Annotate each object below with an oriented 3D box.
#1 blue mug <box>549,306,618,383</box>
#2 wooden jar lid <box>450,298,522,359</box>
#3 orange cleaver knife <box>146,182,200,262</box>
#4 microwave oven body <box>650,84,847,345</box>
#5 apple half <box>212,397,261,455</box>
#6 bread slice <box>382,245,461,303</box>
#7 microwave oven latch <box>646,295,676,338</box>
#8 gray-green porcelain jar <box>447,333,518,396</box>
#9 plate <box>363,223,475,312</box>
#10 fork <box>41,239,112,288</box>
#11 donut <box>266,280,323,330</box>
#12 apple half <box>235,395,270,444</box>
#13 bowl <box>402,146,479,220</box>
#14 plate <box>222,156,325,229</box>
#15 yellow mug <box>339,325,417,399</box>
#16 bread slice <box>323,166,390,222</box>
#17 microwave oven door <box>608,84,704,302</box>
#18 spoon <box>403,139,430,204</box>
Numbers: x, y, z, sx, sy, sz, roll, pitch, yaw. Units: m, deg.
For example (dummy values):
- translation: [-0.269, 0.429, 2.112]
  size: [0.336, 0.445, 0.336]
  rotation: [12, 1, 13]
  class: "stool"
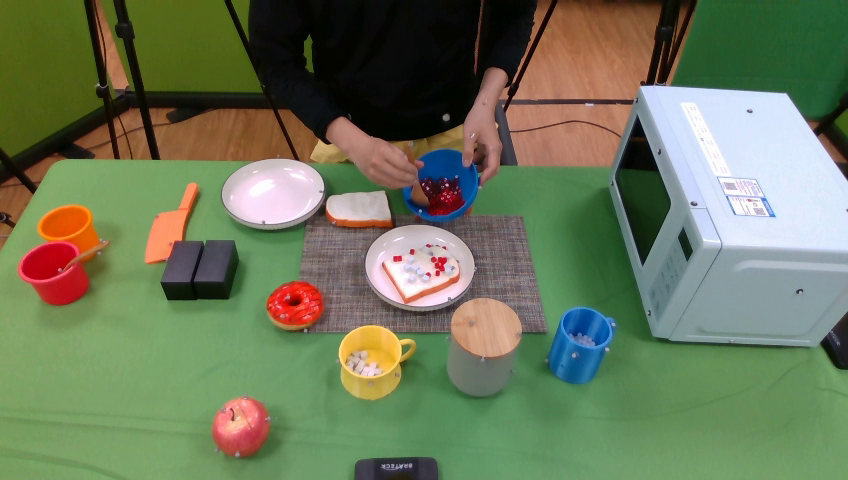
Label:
- translation: [0.269, 0.167, 0.997]
  size: [0.116, 0.106, 0.082]
  rotation: [-19, 50, -21]
  class: "blue mug"
- translation: [0.093, 0.135, 0.914]
  size: [0.108, 0.021, 0.107]
  rotation: [3, 48, -3]
  class: "wooden jar lid"
- translation: [-0.494, -0.039, 1.198]
  size: [0.077, 0.012, 0.210]
  rotation: [-3, 48, 2]
  class: "orange cleaver knife"
- translation: [0.569, -0.054, 1.116]
  size: [0.326, 0.261, 0.439]
  rotation: [2, 46, -1]
  class: "microwave oven body"
- translation: [-0.276, 0.276, 0.877]
  size: [0.053, 0.075, 0.080]
  rotation: [-29, 58, -21]
  class: "apple half"
- translation: [0.001, 0.055, 1.129]
  size: [0.131, 0.019, 0.104]
  rotation: [-21, 51, -20]
  class: "bread slice"
- translation: [0.413, 0.133, 1.060]
  size: [0.030, 0.029, 0.078]
  rotation: [4, 46, 1]
  class: "microwave oven latch"
- translation: [0.091, 0.178, 0.960]
  size: [0.106, 0.127, 0.105]
  rotation: [2, 46, -2]
  class: "gray-green porcelain jar"
- translation: [-0.009, 0.054, 1.127]
  size: [0.208, 0.039, 0.206]
  rotation: [2, 46, -2]
  class: "plate"
- translation: [-0.591, 0.040, 1.028]
  size: [0.207, 0.019, 0.028]
  rotation: [-27, 37, 29]
  class: "fork"
- translation: [-0.223, 0.113, 1.051]
  size: [0.099, 0.048, 0.098]
  rotation: [2, 46, -2]
  class: "donut"
- translation: [-0.245, 0.260, 0.893]
  size: [0.033, 0.082, 0.081]
  rotation: [-29, 55, -22]
  class: "apple half"
- translation: [0.041, -0.097, 1.170]
  size: [0.151, 0.077, 0.150]
  rotation: [-7, 65, 16]
  class: "bowl"
- translation: [-0.308, -0.095, 1.251]
  size: [0.209, 0.038, 0.208]
  rotation: [3, 47, -3]
  class: "plate"
- translation: [-0.072, 0.190, 0.978]
  size: [0.131, 0.064, 0.099]
  rotation: [-17, 50, -20]
  class: "yellow mug"
- translation: [-0.140, -0.092, 1.224]
  size: [0.134, 0.018, 0.106]
  rotation: [-19, 51, 6]
  class: "bread slice"
- translation: [0.424, -0.096, 1.138]
  size: [0.039, 0.245, 0.353]
  rotation: [2, 46, -1]
  class: "microwave oven door"
- translation: [-0.017, -0.120, 1.091]
  size: [0.041, 0.195, 0.021]
  rotation: [19, 61, 20]
  class: "spoon"
